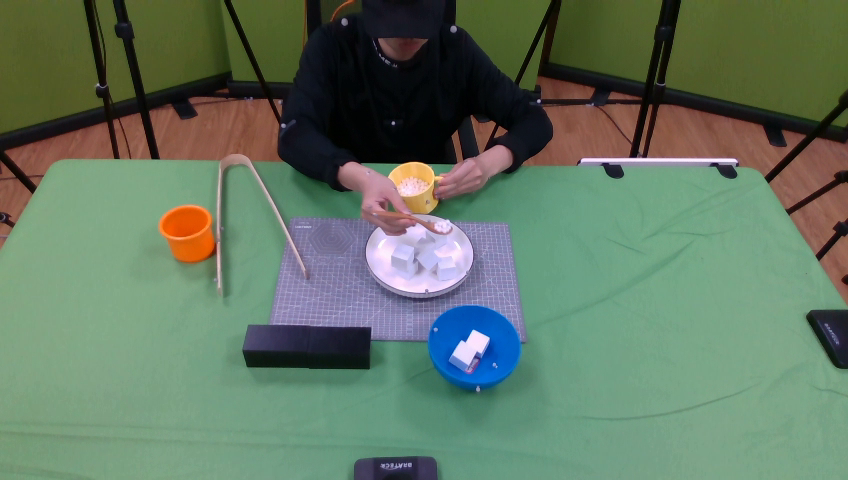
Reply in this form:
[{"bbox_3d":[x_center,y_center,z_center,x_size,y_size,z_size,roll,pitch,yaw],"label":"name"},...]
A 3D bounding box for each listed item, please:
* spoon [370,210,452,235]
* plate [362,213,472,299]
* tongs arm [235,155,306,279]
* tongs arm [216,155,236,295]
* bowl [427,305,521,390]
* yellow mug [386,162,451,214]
[{"bbox_3d":[-0.020,-0.035,1.075,0.195,0.021,0.041,15,23,-45],"label":"spoon"},{"bbox_3d":[-0.013,0.034,1.150,0.208,0.039,0.206,2,46,-2],"label":"plate"},{"bbox_3d":[-0.312,-0.058,1.225,0.028,0.028,0.385,-22,50,-19],"label":"tongs arm"},{"bbox_3d":[-0.389,-0.043,1.201,0.051,0.026,0.382,-9,46,-13],"label":"tongs arm"},{"bbox_3d":[0.076,0.188,0.985,0.151,0.077,0.150,3,46,-3],"label":"bowl"},{"bbox_3d":[-0.009,-0.106,1.252,0.131,0.064,0.099,-6,51,4],"label":"yellow mug"}]
